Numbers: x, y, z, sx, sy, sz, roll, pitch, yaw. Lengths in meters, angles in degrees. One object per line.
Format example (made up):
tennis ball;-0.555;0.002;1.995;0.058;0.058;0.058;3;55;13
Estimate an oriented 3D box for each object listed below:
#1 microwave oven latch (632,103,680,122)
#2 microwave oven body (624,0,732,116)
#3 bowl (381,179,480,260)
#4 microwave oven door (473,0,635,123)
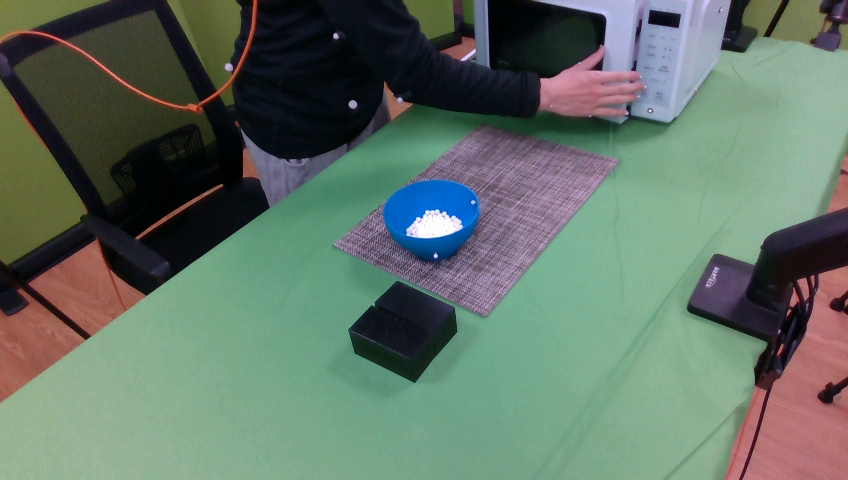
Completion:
microwave oven latch;0.443;-0.249;1.157;0.078;0.029;0.030;21;48;30
microwave oven body;0.377;-0.463;1.267;0.438;0.261;0.327;21;49;30
bowl;0.014;-0.021;0.942;0.151;0.077;0.150;-4;40;4
microwave oven door;0.246;-0.386;1.189;0.353;0.245;0.039;26;51;33
